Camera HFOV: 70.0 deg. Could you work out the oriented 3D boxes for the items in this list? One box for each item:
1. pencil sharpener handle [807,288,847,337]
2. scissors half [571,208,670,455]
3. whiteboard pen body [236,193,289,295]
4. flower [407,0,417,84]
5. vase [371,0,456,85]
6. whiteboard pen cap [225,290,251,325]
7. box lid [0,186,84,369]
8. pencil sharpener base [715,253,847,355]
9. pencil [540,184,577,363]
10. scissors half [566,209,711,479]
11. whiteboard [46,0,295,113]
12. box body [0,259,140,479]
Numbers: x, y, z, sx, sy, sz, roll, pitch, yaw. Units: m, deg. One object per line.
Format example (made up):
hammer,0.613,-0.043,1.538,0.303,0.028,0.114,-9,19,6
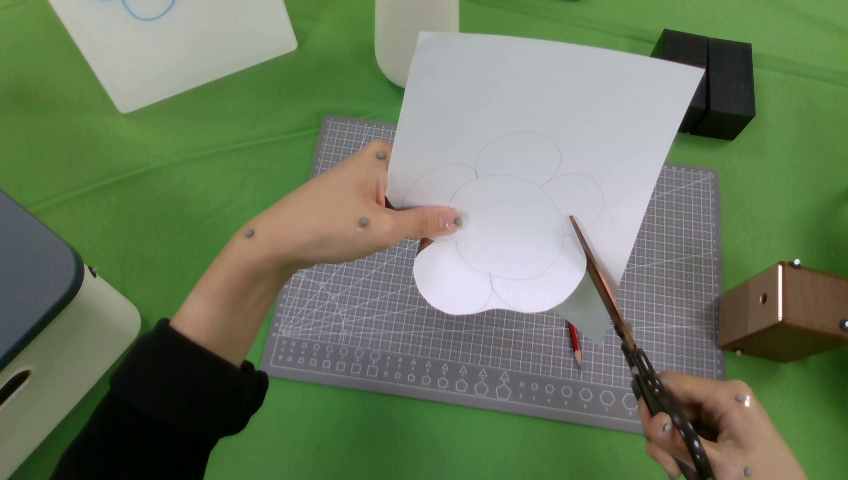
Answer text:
pencil sharpener handle,0.386,0.071,0.557,0.030,0.068,0.035,12,62,0
scissors half,0.122,0.058,0.371,0.013,0.040,0.176,-24,107,4
whiteboard pen body,-0.168,0.013,0.619,0.017,0.017,0.140,15,67,4
flower,-0.015,-0.299,0.561,0.044,0.365,0.038,1,50,3
vase,-0.012,-0.254,0.633,0.098,0.201,0.097,0,67,0
whiteboard pen cap,-0.182,0.065,0.596,0.018,0.018,0.033,14,64,4
box lid,-0.472,0.014,0.452,0.370,0.015,0.262,34,71,11
pencil sharpener base,0.335,0.064,0.569,0.077,0.107,0.061,12,68,0
pencil,0.140,0.031,0.627,0.012,0.012,0.192,-5,71,-3
scissors half,0.122,0.060,0.350,0.013,0.040,0.174,-25,83,-1
whiteboard,-0.298,-0.329,0.628,0.217,0.308,0.142,-25,52,-10
box body,-0.472,0.043,0.520,0.362,0.161,0.253,34,71,11
